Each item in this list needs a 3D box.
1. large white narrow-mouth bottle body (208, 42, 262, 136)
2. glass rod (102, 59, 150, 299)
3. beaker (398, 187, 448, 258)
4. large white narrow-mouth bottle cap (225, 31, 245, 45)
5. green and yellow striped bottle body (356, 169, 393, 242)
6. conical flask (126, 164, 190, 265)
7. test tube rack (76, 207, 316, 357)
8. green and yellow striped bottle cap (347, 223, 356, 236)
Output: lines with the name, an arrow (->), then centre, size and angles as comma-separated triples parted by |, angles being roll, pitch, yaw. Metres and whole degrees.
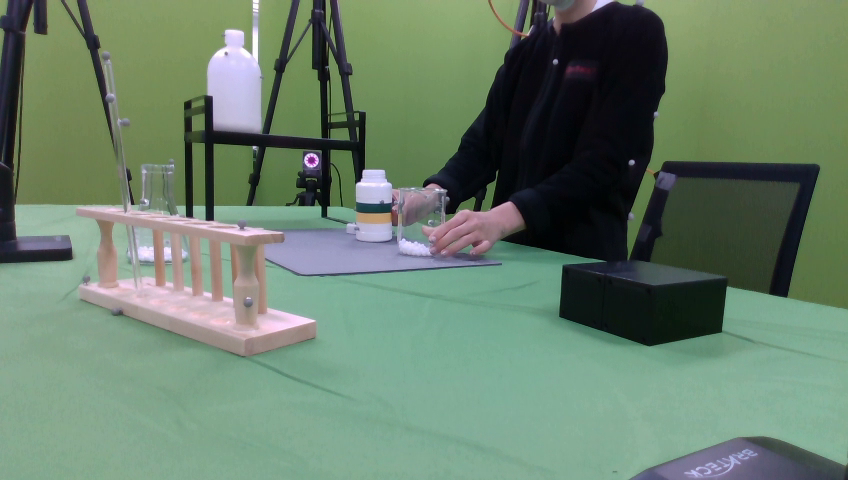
large white narrow-mouth bottle body -> -0.368, -0.304, 1.181 | 0.102, 0.194, 0.101 | 2, 9, 0
glass rod -> -0.243, -0.045, 0.496 | 0.008, 0.199, 0.008 | -4, 12, 1
beaker -> -0.002, -0.026, 0.890 | 0.074, 0.100, 0.084 | 0, 8, -11
large white narrow-mouth bottle cap -> -0.365, -0.389, 1.166 | 0.038, 0.024, 0.037 | 2, 9, 0
green and yellow striped bottle body -> -0.084, -0.060, 1.027 | 0.063, 0.119, 0.063 | 1, 10, 0
conical flask -> -0.332, -0.033, 0.756 | 0.075, 0.122, 0.075 | 2, 7, 0
test tube rack -> -0.196, 0.023, 0.500 | 0.241, 0.085, 0.067 | 8, 9, 36
green and yellow striped bottle cap -> -0.122, -0.020, 1.133 | 0.045, 0.020, 0.045 | 0, 9, 0
